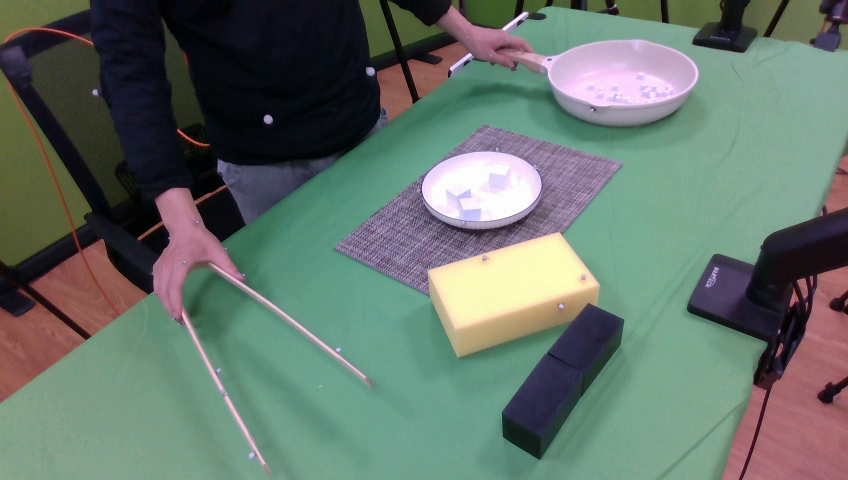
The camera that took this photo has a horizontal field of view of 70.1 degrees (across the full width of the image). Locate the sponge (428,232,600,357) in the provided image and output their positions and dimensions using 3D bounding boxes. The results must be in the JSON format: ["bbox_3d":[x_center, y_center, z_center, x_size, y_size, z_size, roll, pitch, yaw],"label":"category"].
[{"bbox_3d":[0.120,0.071,0.834,0.207,0.061,0.117,-16,43,-12],"label":"sponge"}]

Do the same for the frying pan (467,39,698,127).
[{"bbox_3d":[0.312,-0.359,1.277,0.485,0.103,0.307,23,48,19],"label":"frying pan"}]

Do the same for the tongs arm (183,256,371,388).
[{"bbox_3d":[-0.208,0.098,0.809,0.384,0.028,0.028,26,64,35],"label":"tongs arm"}]

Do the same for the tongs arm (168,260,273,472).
[{"bbox_3d":[-0.264,0.142,0.782,0.051,0.027,0.381,-37,48,-17],"label":"tongs arm"}]

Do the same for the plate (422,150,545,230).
[{"bbox_3d":[0.100,-0.082,1.030,0.207,0.039,0.206,-4,40,4],"label":"plate"}]
